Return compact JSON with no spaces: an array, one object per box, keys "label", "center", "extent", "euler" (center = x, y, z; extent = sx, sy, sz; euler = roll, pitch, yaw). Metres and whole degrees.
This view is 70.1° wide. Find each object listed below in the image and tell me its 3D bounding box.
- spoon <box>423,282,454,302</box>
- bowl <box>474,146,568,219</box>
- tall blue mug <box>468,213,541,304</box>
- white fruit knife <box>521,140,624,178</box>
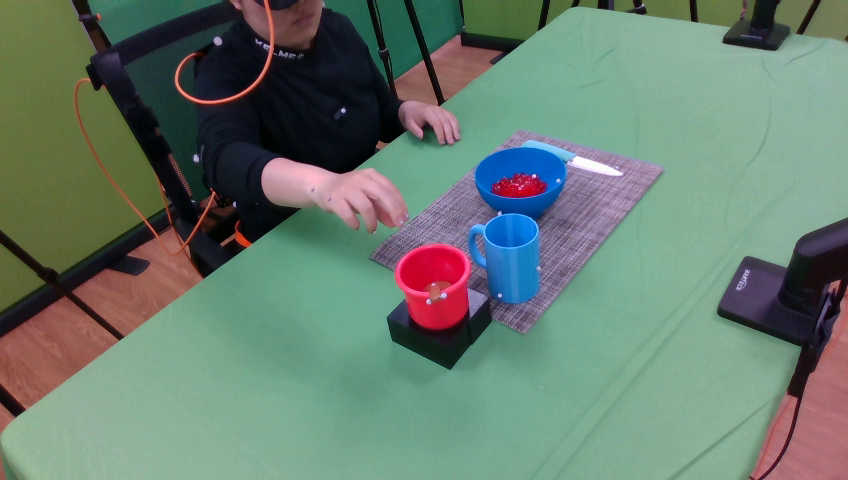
[{"label":"spoon","center":[0.015,0.062,0.733],"extent":[0.041,0.021,0.194],"euler":[-5,-4,3]},{"label":"bowl","center":[0.161,-0.083,1.001],"extent":[0.151,0.077,0.150],"euler":[-5,40,5]},{"label":"tall blue mug","center":[0.111,0.026,0.856],"extent":[0.107,0.108,0.077],"euler":[2,42,13]},{"label":"white fruit knife","center":[0.270,-0.149,1.110],"extent":[0.206,0.016,0.027],"euler":[25,80,32]}]
